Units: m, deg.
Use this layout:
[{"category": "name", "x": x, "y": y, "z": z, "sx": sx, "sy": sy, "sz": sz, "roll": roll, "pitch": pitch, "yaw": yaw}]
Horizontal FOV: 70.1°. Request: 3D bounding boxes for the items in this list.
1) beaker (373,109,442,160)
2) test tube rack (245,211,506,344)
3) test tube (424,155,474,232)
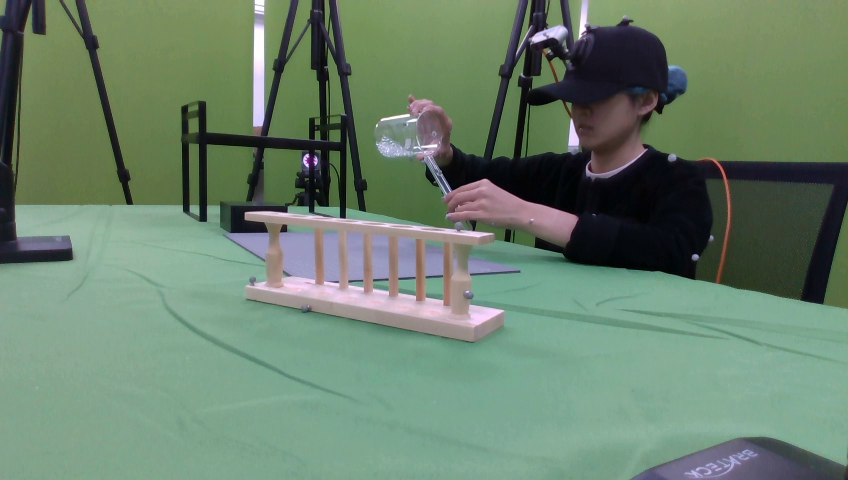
[{"category": "beaker", "x": -0.030, "y": -0.177, "z": 1.039, "sx": 0.100, "sy": 0.084, "sz": 0.074, "roll": 1, "pitch": 1, "yaw": 36}, {"category": "test tube rack", "x": -0.049, "y": 0.025, "z": 0.547, "sx": 0.241, "sy": 0.085, "sz": 0.067, "roll": 7, "pitch": 8, "yaw": 28}, {"category": "test tube", "x": 0.042, "y": -0.076, "z": 0.996, "sx": 0.017, "sy": 0.150, "sz": 0.017, "roll": -28, "pitch": -13, "yaw": -7}]
